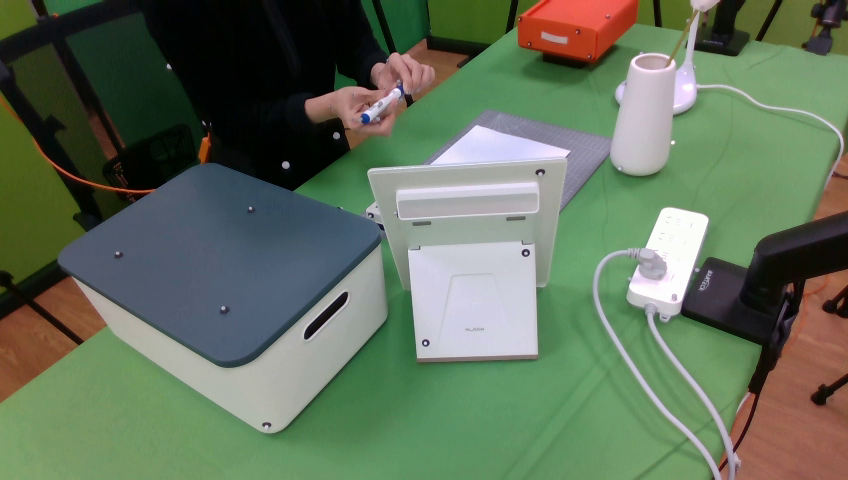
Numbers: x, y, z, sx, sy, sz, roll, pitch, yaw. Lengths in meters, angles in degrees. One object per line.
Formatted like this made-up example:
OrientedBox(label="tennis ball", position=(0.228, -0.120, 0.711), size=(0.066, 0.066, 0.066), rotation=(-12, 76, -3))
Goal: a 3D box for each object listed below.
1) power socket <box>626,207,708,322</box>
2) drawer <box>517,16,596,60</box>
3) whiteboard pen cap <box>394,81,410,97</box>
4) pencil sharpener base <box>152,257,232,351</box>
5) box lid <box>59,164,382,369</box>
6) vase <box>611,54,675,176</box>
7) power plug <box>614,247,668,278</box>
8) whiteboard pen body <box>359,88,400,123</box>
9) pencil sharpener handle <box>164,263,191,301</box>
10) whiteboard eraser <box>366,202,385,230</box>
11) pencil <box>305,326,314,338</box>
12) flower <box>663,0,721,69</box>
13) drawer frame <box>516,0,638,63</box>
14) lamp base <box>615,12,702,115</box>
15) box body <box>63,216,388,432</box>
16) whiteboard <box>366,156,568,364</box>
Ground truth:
OrientedBox(label="power socket", position=(0.359, 0.025, 0.886), size=(0.072, 0.033, 0.227), rotation=(16, 46, 26))
OrientedBox(label="drawer", position=(0.352, -0.506, 1.405), size=(0.193, 0.073, 0.212), rotation=(23, 49, 32))
OrientedBox(label="whiteboard pen cap", position=(-0.036, -0.239, 0.964), size=(0.018, 0.018, 0.033), rotation=(12, 36, 21))
OrientedBox(label="pencil sharpener base", position=(-0.322, 0.088, 0.841), size=(0.061, 0.107, 0.076), rotation=(-27, 44, -20))
OrientedBox(label="box lid", position=(-0.263, 0.010, 0.777), size=(0.368, 0.015, 0.264), rotation=(20, 47, 29))
OrientedBox(label="vase", position=(0.377, -0.209, 1.031), size=(0.098, 0.201, 0.097), rotation=(-3, 40, 3))
OrientedBox(label="power plug", position=(0.306, 0.031, 0.851), size=(0.072, 0.053, 0.035), rotation=(24, 49, 33))
OrientedBox(label="whiteboard pen body", position=(-0.061, -0.209, 0.920), size=(0.017, 0.017, 0.141), rotation=(11, 36, 20))
OrientedBox(label="pencil sharpener handle", position=(-0.354, 0.055, 0.866), size=(0.036, 0.068, 0.030), rotation=(-17, 39, -29))
OrientedBox(label="whiteboard eraser", position=(-0.037, -0.038, 1.006), size=(0.112, 0.042, 0.055), rotation=(16, 48, 25))
OrientedBox(label="pencil", position=(-0.187, 0.106, 0.880), size=(0.012, 0.012, 0.192), rotation=(-27, 41, -22))
OrientedBox(label="flower", position=(0.379, -0.261, 0.965), size=(0.044, 0.362, 0.038), rotation=(20, 53, 5))
OrientedBox(label="drawer frame", position=(0.355, -0.508, 1.410), size=(0.200, 0.083, 0.214), rotation=(23, 51, 32))
OrientedBox(label="lamp base", position=(0.484, -0.364, 1.211), size=(0.180, 0.181, 0.159), rotation=(-15, 41, -14))
OrientedBox(label="box body", position=(-0.256, 0.065, 0.827), size=(0.361, 0.161, 0.255), rotation=(20, 48, 29))
OrientedBox(label="whiteboard", position=(0.059, 0.050, 0.738), size=(0.217, 0.307, 0.143), rotation=(-2, 60, 6))
